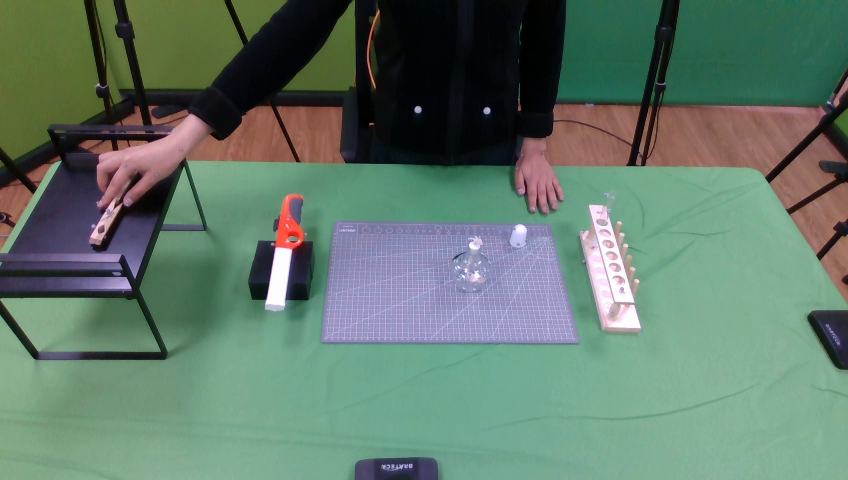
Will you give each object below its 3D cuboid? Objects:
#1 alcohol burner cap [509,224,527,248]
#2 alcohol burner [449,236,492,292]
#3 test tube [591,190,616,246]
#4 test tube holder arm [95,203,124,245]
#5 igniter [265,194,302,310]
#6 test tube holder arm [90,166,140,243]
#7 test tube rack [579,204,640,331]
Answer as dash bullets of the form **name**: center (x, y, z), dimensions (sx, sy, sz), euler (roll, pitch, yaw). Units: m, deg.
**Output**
- **alcohol burner cap**: center (0.189, -0.011, 1.206), dimensions (0.034, 0.048, 0.033), euler (1, 46, -1)
- **alcohol burner**: center (0.086, 0.038, 1.101), dimensions (0.078, 0.119, 0.077), euler (2, 44, -2)
- **test tube**: center (0.338, -0.038, 1.149), dimensions (0.017, 0.151, 0.017), euler (0, 51, 0)
- **test tube holder arm**: center (-0.488, -0.027, 0.940), dimensions (0.010, 0.015, 0.087), euler (29, 38, -24)
- **igniter**: center (-0.253, 0.011, 1.099), dimensions (0.057, 0.025, 0.274), euler (9, 46, -12)
- **test tube holder arm**: center (-0.492, -0.061, 0.970), dimensions (0.013, 0.015, 0.177), euler (28, 38, -24)
- **test tube rack**: center (0.353, 0.047, 1.137), dimensions (0.067, 0.085, 0.241), euler (2, 46, -2)
